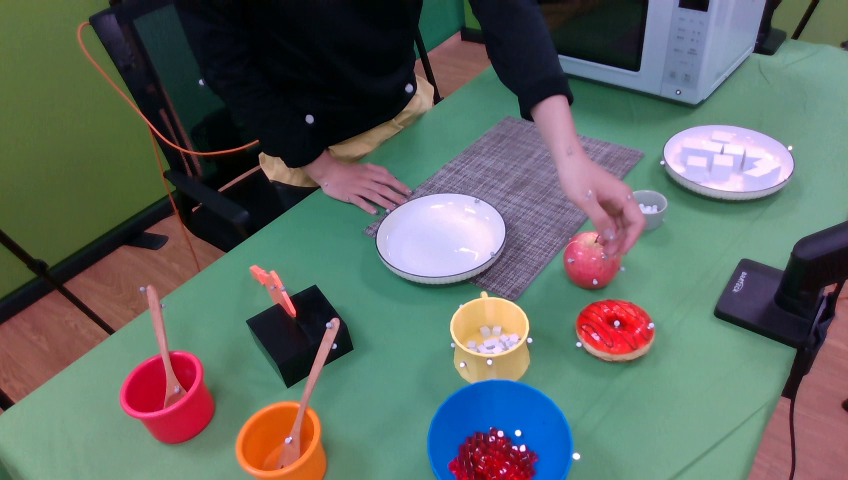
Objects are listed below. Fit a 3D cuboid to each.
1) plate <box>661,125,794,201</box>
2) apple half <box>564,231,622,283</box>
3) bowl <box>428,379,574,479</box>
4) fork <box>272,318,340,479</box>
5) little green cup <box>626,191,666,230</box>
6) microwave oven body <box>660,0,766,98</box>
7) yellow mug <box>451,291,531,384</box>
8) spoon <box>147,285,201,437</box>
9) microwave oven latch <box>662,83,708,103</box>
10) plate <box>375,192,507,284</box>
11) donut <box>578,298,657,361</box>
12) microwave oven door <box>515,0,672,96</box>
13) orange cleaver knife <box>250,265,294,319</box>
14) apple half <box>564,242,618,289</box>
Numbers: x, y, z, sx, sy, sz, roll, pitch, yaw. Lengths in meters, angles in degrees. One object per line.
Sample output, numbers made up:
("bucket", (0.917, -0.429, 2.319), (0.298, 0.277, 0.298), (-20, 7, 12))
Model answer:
("plate", (0.514, -0.128, 1.035), (0.207, 0.039, 0.206), (-4, 40, 4))
("apple half", (0.248, 0.021, 0.874), (0.080, 0.075, 0.053), (13, 40, 29))
("bowl", (0.082, 0.233, 0.644), (0.151, 0.077, 0.150), (-4, 40, 4))
("fork", (-0.131, 0.186, 0.676), (0.028, 0.019, 0.207), (18, 90, 28))
("little green cup", (0.352, -0.046, 0.963), (0.061, 0.039, 0.061), (-4, 40, 4))
("microwave oven body", (0.472, -0.513, 1.317), (0.438, 0.261, 0.327), (26, 51, 34))
("yellow mug", (0.085, 0.120, 0.786), (0.100, 0.064, 0.130), (-7, 39, 1))
("spoon", (-0.318, 0.148, 0.754), (0.042, 0.021, 0.193), (-15, 86, -5))
("microwave oven latch", (0.519, -0.297, 1.205), (0.030, 0.029, 0.078), (-37, 47, -29))
("plate", (0.027, 0.000, 0.952), (0.209, 0.038, 0.208), (-4, 40, 4))
("donut", (0.250, 0.114, 0.786), (0.099, 0.048, 0.098), (-5, 37, 4))
("microwave oven door", (0.344, -0.455, 1.259), (0.353, 0.245, 0.039), (26, 51, 33))
("orange cleaver knife", (-0.221, 0.073, 0.876), (0.012, 0.077, 0.210), (-23, 12, -22))
("apple half", (0.229, 0.044, 0.848), (0.081, 0.081, 0.033), (16, 41, 25))
